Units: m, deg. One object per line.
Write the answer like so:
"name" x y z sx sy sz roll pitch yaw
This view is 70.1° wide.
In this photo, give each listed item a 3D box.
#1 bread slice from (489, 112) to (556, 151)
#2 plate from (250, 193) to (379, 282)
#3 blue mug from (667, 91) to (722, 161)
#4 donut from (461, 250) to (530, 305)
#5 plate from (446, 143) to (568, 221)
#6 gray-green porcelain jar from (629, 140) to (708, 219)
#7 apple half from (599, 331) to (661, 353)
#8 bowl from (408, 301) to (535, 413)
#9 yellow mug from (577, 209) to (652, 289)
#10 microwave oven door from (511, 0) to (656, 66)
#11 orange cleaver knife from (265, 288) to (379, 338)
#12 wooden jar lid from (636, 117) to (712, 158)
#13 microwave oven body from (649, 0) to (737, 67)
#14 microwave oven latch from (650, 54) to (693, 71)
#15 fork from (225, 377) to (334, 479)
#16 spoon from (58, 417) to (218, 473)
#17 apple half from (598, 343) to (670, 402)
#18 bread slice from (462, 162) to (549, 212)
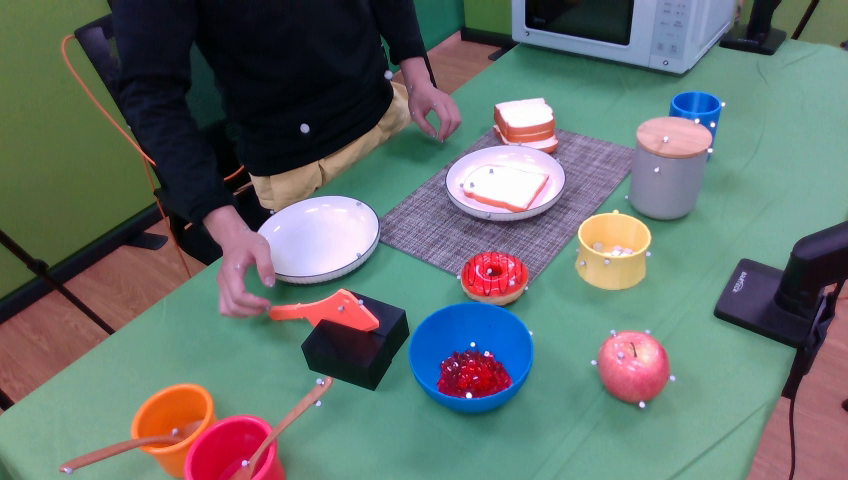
"bread slice" 0.192 -0.204 1.164 0.105 0.019 0.130 -12 40 -6
"plate" -0.174 -0.001 0.984 0.209 0.038 0.208 -3 40 3
"blue mug" 0.474 -0.207 1.079 0.082 0.106 0.116 4 42 13
"donut" 0.103 0.053 0.872 0.099 0.048 0.098 -5 40 4
"plate" 0.142 -0.096 1.045 0.207 0.039 0.206 -4 40 4
"gray-green porcelain jar" 0.383 -0.105 0.958 0.106 0.127 0.105 -4 41 4
"apple half" 0.249 0.134 0.738 0.081 0.081 0.032 -2 46 7
"bowl" 0.060 0.156 0.739 0.151 0.077 0.150 -4 40 4
"yellow mug" 0.279 0.004 0.893 0.099 0.064 0.130 5 41 15
"microwave oven door" 0.351 -0.540 1.349 0.353 0.245 0.039 24 50 31
"orange cleaver knife" -0.143 0.104 0.823 0.210 0.077 0.012 -12 29 43
"wooden jar lid" 0.377 -0.151 0.917 0.108 0.021 0.108 -2 41 3
"microwave oven body" 0.475 -0.602 1.411 0.438 0.261 0.327 23 50 32
"microwave oven latch" 0.531 -0.386 1.301 0.078 0.029 0.030 26 51 33
"fork" -0.163 0.216 0.646 0.207 0.019 0.028 -49 42 16
"spoon" -0.304 0.221 0.661 0.041 0.195 0.021 19 92 27
"apple half" 0.247 0.161 0.710 0.081 0.075 0.053 2 47 5
"bread slice" 0.135 -0.094 1.045 0.133 0.018 0.107 15 45 23
